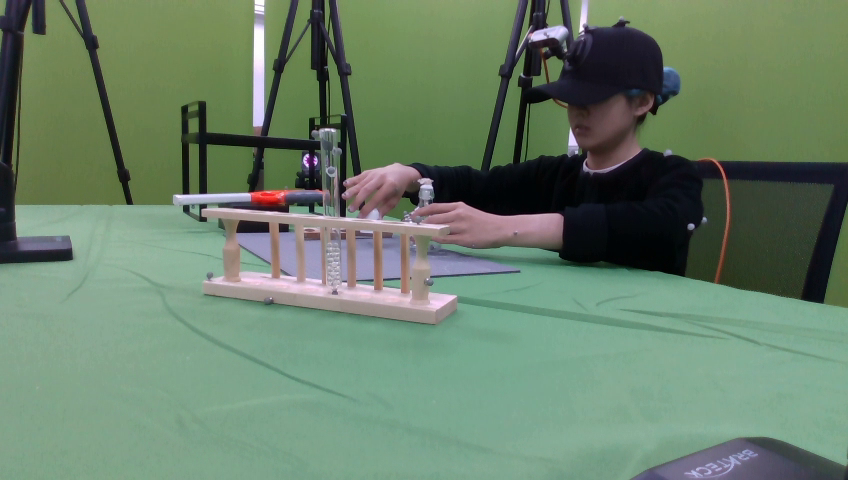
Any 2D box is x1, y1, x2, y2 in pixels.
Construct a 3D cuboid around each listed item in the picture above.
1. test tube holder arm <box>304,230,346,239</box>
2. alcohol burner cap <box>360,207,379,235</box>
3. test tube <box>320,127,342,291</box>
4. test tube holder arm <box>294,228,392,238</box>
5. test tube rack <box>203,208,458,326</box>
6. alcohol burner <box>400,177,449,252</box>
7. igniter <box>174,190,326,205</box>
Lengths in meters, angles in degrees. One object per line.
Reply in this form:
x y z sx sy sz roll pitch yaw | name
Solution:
-0.174 -0.009 1.026 0.088 0.015 0.010 0 41 -31 | test tube holder arm
-0.089 -0.031 1.001 0.034 0.048 0.034 3 2 0 | alcohol burner cap
-0.084 -0.027 0.554 0.017 0.150 0.017 -1 7 0 | test tube
-0.138 -0.012 1.053 0.179 0.015 0.013 0 41 -31 | test tube holder arm
-0.090 0.019 0.579 0.241 0.085 0.067 5 7 19 | test tube rack
0.003 -0.040 0.952 0.078 0.119 0.078 5 7 0 | alcohol burner
-0.317 -0.079 1.132 0.278 0.025 0.057 -4 13 -32 | igniter
